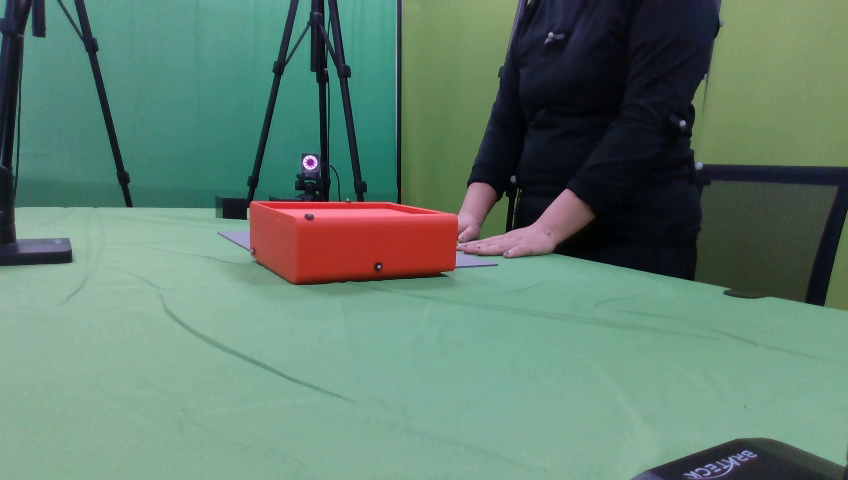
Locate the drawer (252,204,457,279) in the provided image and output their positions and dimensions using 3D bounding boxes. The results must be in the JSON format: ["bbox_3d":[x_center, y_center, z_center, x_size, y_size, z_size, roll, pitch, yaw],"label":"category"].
[{"bbox_3d":[-0.095,-0.004,0.787,0.213,0.073,0.193,-3,10,-30],"label":"drawer"}]

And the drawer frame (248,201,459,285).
[{"bbox_3d":[-0.096,-0.005,0.785,0.215,0.082,0.200,-3,10,-31],"label":"drawer frame"}]

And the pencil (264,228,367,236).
[{"bbox_3d":[-0.195,-0.013,1.109,0.195,0.012,0.012,2,7,-28],"label":"pencil"}]
